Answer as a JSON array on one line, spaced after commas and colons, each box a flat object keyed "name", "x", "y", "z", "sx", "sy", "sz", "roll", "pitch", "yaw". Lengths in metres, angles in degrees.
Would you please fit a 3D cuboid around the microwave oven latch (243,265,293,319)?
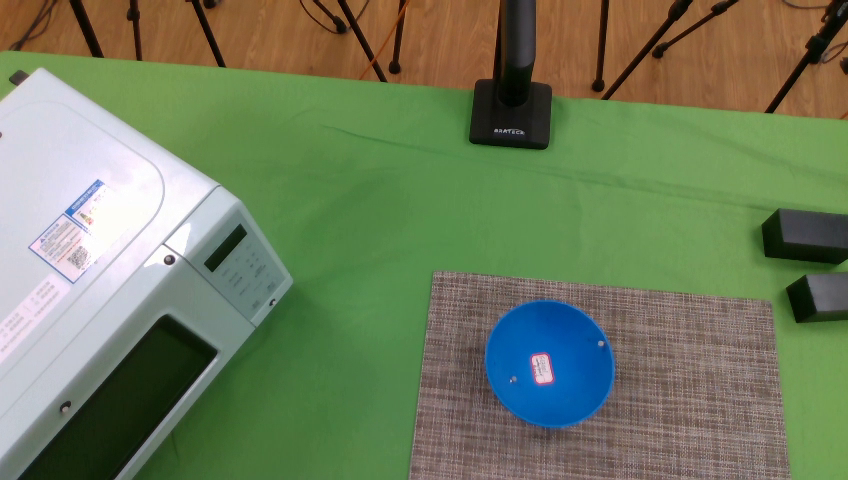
[{"name": "microwave oven latch", "x": -0.206, "y": 0.063, "z": 0.790, "sx": 0.030, "sy": 0.030, "sz": 0.079, "roll": 34, "pitch": 72, "yaw": 14}]

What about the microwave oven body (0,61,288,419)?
[{"name": "microwave oven body", "x": -0.432, "y": 0.084, "z": 0.682, "sx": 0.324, "sy": 0.262, "sz": 0.440, "roll": 32, "pitch": 72, "yaw": 14}]

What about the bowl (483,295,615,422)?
[{"name": "bowl", "x": 0.145, "y": 0.150, "z": 0.737, "sx": 0.151, "sy": 0.077, "sz": 0.150, "roll": -1, "pitch": 66, "yaw": 2}]

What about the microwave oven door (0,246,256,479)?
[{"name": "microwave oven door", "x": -0.336, "y": 0.188, "z": 0.629, "sx": 0.039, "sy": 0.245, "sz": 0.355, "roll": 32, "pitch": 71, "yaw": 15}]
